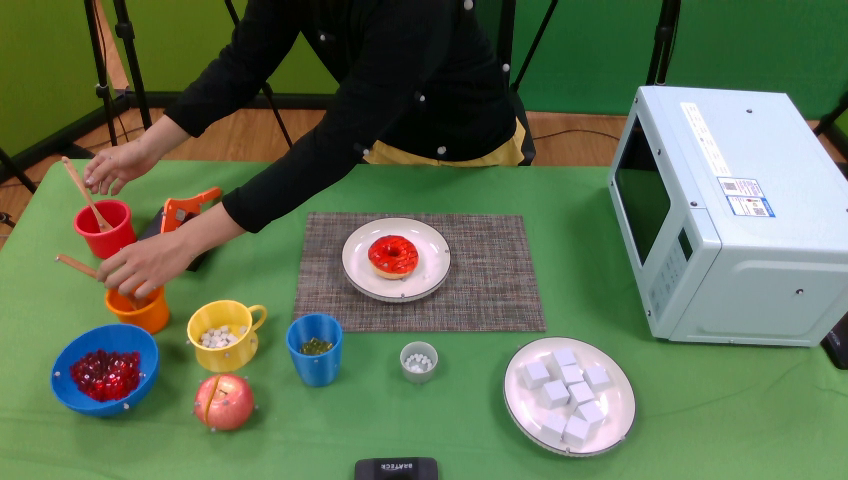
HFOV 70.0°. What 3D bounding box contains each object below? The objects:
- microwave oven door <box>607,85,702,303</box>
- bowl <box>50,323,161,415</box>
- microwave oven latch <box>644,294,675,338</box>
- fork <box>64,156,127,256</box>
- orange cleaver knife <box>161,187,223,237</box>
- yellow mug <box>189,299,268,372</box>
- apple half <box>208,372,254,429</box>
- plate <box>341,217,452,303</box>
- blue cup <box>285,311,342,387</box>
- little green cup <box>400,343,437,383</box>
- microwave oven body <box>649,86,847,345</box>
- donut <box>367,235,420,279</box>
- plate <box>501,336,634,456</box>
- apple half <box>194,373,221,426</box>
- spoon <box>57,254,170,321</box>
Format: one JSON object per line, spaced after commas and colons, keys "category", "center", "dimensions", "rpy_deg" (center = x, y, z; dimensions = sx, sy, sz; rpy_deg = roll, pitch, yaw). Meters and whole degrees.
{"category": "microwave oven door", "center": [0.423, -0.094, 1.140], "dimensions": [0.039, 0.245, 0.353], "rpy_deg": [2, 46, -1]}
{"category": "bowl", "center": [-0.472, 0.209, 0.923], "dimensions": [0.151, 0.077, 0.150], "rpy_deg": [3, 45, -2]}
{"category": "microwave oven latch", "center": [0.411, 0.134, 1.061], "dimensions": [0.030, 0.029, 0.078], "rpy_deg": [2, 45, -1]}
{"category": "fork", "center": [-0.614, -0.064, 1.130], "dimensions": [0.028, 0.018, 0.207], "rpy_deg": [-30, 97, -15]}
{"category": "orange cleaver knife", "center": [-0.448, -0.058, 1.181], "dimensions": [0.012, 0.077, 0.211], "rpy_deg": [13, 17, 6]}
{"category": "yellow mug", "center": [-0.316, 0.148, 1.001], "dimensions": [0.131, 0.064, 0.099], "rpy_deg": [-33, 56, -31]}
{"category": "apple half", "center": [-0.282, 0.244, 0.907], "dimensions": [0.053, 0.075, 0.080], "rpy_deg": [7, 43, -1]}
{"category": "plate", "center": [-0.052, 0.039, 1.140], "dimensions": [0.209, 0.038, 0.208], "rpy_deg": [2, 46, -2]}
{"category": "blue cup", "center": [-0.170, 0.180, 0.958], "dimensions": [0.093, 0.101, 0.092], "rpy_deg": [2, 43, -1]}
{"category": "little green cup", "center": [-0.010, 0.203, 0.991], "dimensions": [0.061, 0.039, 0.061], "rpy_deg": [2, 46, -2]}
{"category": "microwave oven body", "center": [0.568, -0.053, 1.118], "dimensions": [0.326, 0.261, 0.439], "rpy_deg": [2, 45, -1]}
{"category": "donut", "center": [-0.057, 0.032, 1.131], "dimensions": [0.099, 0.048, 0.098], "rpy_deg": [4, 45, -3]}
{"category": "plate", "center": [0.225, 0.249, 0.963], "dimensions": [0.208, 0.039, 0.206], "rpy_deg": [2, 46, -2]}
{"category": "apple half", "center": [-0.324, 0.240, 0.907], "dimensions": [0.033, 0.081, 0.081], "rpy_deg": [4, 46, 2]}
{"category": "spoon", "center": [-0.509, 0.076, 1.001], "dimensions": [0.021, 0.195, 0.041], "rpy_deg": [-26, 36, 34]}
